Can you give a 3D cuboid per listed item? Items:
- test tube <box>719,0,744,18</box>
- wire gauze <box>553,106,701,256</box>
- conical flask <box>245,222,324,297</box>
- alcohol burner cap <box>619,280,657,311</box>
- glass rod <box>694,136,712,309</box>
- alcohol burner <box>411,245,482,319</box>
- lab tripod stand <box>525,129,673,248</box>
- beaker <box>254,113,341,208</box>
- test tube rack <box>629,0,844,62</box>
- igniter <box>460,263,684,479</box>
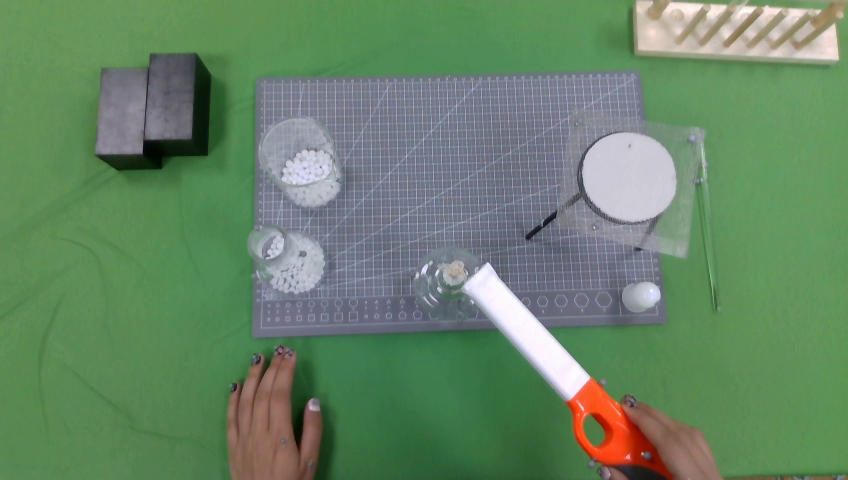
[{"bbox_3d":[0.355,-0.284,0.649,0.017,0.151,0.017,0,78,1],"label":"test tube"},{"bbox_3d":[0.186,-0.057,0.554,0.125,0.011,0.121,12,80,1],"label":"wire gauze"},{"bbox_3d":[-0.144,0.014,0.604,0.075,0.122,0.075,0,79,-2],"label":"conical flask"},{"bbox_3d":[0.232,0.057,0.649,0.034,0.048,0.033,0,78,-2],"label":"alcohol burner cap"},{"bbox_3d":[0.316,-0.022,0.687,0.008,0.008,0.199,0,82,-2],"label":"glass rod"},{"bbox_3d":[0.025,0.039,0.610,0.078,0.119,0.077,0,79,1],"label":"alcohol burner"},{"bbox_3d":[0.181,-0.045,0.620,0.148,0.132,0.148,0,81,-1],"label":"lab tripod stand"},{"bbox_3d":[-0.125,-0.076,0.634,0.084,0.100,0.074,34,80,5],"label":"beaker"},{"bbox_3d":[0.371,-0.260,0.695,0.242,0.085,0.066,2,79,-1],"label":"test tube rack"},{"bbox_3d":[0.132,0.132,0.504,0.057,0.025,0.276,-41,88,-18],"label":"igniter"}]
